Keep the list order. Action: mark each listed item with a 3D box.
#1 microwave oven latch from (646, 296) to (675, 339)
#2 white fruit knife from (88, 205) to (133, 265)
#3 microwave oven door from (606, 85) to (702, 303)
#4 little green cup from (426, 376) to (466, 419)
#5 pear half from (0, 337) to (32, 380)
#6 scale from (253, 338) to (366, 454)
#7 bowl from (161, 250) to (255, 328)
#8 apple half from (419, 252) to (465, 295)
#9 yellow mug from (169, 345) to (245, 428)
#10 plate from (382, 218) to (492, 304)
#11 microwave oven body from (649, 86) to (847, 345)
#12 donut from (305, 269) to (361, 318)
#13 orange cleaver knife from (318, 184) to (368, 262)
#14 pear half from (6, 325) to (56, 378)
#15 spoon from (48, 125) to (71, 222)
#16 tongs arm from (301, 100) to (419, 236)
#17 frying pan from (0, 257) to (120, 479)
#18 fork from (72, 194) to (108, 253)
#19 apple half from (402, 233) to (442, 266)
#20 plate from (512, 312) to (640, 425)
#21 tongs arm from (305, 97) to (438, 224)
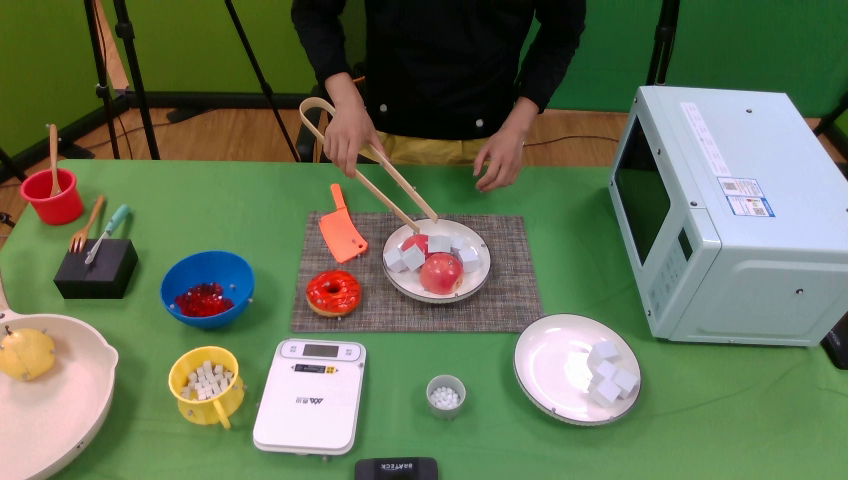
[{"bbox_3d":[0.412,0.134,1.061,0.030,0.029,0.078,4,45,1],"label":"microwave oven latch"},{"bbox_3d":[-0.584,-0.013,1.129,0.016,0.027,0.206,-1,32,-5],"label":"white fruit knife"},{"bbox_3d":[0.423,-0.094,1.140,0.039,0.245,0.353,2,46,-1],"label":"microwave oven door"},{"bbox_3d":[0.033,0.248,0.950,0.061,0.039,0.061,2,46,-2],"label":"little green cup"},{"bbox_3d":[-0.631,0.184,0.921,0.070,0.088,0.031,29,49,19],"label":"pear half"},{"bbox_3d":[-0.175,0.236,0.951,0.149,0.032,0.199,5,45,-1],"label":"scale"},{"bbox_3d":[-0.362,0.098,1.039,0.151,0.077,0.150,2,45,-2],"label":"bowl"},{"bbox_3d":[0.035,0.055,1.109,0.074,0.053,0.081,38,55,24],"label":"apple half"},{"bbox_3d":[-0.322,0.230,0.922,0.100,0.064,0.130,-24,53,-25],"label":"yellow mug"},{"bbox_3d":[0.023,0.042,1.143,0.209,0.038,0.208,2,46,-2],"label":"plate"},{"bbox_3d":[0.567,-0.053,1.118,0.326,0.261,0.439,2,45,-1],"label":"microwave oven body"},{"bbox_3d":[-0.160,0.094,1.075,0.099,0.048,0.098,4,45,-3],"label":"donut"},{"bbox_3d":[-0.173,-0.037,1.219,0.077,0.012,0.210,-16,50,-12],"label":"orange cleaver knife"},{"bbox_3d":[-0.608,0.158,0.935,0.076,0.110,0.056,31,51,20],"label":"pear half"},{"bbox_3d":[-0.718,-0.131,1.188,0.041,0.021,0.193,-3,90,-7],"label":"spoon"},{"bbox_3d":[-0.129,-0.141,1.147,0.028,0.028,0.385,-36,65,-16],"label":"tongs arm"},{"bbox_3d":[-0.647,0.164,0.936,0.307,0.103,0.485,-19,58,-22],"label":"frying pan"},{"bbox_3d":[-0.634,-0.036,1.158,0.028,0.019,0.206,-8,32,-8],"label":"fork"},{"bbox_3d":[-0.004,0.013,1.160,0.081,0.033,0.081,5,44,-4],"label":"apple half"},{"bbox_3d":[0.246,0.213,0.999,0.208,0.039,0.206,2,46,-2],"label":"plate"},{"bbox_3d":[-0.108,-0.156,1.157,0.051,0.026,0.382,-32,64,-18],"label":"tongs arm"}]
